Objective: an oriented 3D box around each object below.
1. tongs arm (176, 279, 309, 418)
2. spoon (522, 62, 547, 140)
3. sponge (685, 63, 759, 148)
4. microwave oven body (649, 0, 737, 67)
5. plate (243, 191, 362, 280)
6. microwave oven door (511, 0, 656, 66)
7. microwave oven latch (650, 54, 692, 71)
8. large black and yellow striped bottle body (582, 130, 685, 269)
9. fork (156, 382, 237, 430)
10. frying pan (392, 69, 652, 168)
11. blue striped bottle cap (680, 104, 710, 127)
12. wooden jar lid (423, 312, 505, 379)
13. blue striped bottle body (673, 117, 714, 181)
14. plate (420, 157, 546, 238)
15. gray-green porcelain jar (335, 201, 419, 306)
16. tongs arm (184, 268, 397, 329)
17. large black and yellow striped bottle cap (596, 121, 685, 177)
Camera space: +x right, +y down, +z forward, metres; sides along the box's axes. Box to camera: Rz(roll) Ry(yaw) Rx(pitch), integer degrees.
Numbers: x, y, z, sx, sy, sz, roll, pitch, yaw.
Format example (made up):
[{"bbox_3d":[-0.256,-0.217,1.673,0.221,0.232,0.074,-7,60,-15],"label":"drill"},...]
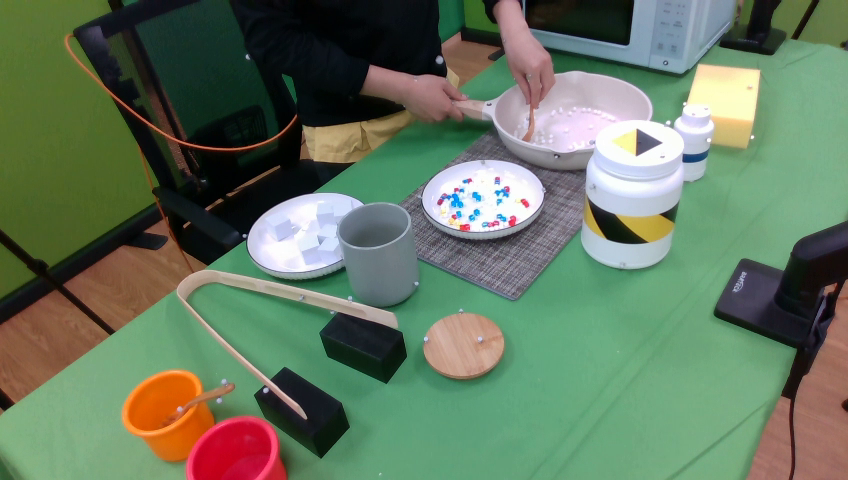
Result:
[{"bbox_3d":[-0.255,0.132,0.801,0.028,0.028,0.384,-41,40,-23],"label":"tongs arm"},{"bbox_3d":[0.214,-0.272,1.179,0.021,0.042,0.193,13,70,3],"label":"spoon"},{"bbox_3d":[0.569,-0.263,1.164,0.117,0.061,0.207,12,45,22],"label":"sponge"},{"bbox_3d":[0.475,-0.602,1.411,0.438,0.261,0.327,23,50,32],"label":"microwave oven body"},{"bbox_3d":[-0.188,-0.005,0.992,0.207,0.039,0.206,-4,40,4],"label":"plate"},{"bbox_3d":[0.351,-0.540,1.350,0.353,0.245,0.039,24,50,31],"label":"microwave oven door"},{"bbox_3d":[0.531,-0.386,1.301,0.078,0.029,0.030,25,51,32],"label":"microwave oven latch"},{"bbox_3d":[0.301,-0.063,0.877,0.131,0.185,0.130,-4,41,4],"label":"large black and yellow striped bottle body"},{"bbox_3d":[-0.262,0.189,0.690,0.018,0.206,0.028,49,43,-7],"label":"fork"},{"bbox_3d":[0.175,-0.248,1.166,0.487,0.103,0.306,12,43,9],"label":"frying pan"},{"bbox_3d":[0.443,-0.205,0.989,0.044,0.021,0.044,-1,41,2],"label":"blue striped bottle cap"},{"bbox_3d":[0.053,0.142,0.800,0.108,0.021,0.108,-5,39,4],"label":"wooden jar lid"},{"bbox_3d":[0.449,-0.165,1.022,0.063,0.121,0.063,-5,41,4],"label":"blue striped bottle body"},{"bbox_3d":[0.099,-0.067,1.017,0.209,0.038,0.208,-4,40,4],"label":"plate"},{"bbox_3d":[-0.064,0.024,0.872,0.106,0.127,0.105,-4,41,4],"label":"gray-green porcelain jar"},{"bbox_3d":[-0.202,0.084,0.848,0.382,0.027,0.051,11,44,35],"label":"tongs arm"},{"bbox_3d":[0.293,-0.126,0.821,0.115,0.019,0.114,-5,40,4],"label":"large black and yellow striped bottle cap"}]
